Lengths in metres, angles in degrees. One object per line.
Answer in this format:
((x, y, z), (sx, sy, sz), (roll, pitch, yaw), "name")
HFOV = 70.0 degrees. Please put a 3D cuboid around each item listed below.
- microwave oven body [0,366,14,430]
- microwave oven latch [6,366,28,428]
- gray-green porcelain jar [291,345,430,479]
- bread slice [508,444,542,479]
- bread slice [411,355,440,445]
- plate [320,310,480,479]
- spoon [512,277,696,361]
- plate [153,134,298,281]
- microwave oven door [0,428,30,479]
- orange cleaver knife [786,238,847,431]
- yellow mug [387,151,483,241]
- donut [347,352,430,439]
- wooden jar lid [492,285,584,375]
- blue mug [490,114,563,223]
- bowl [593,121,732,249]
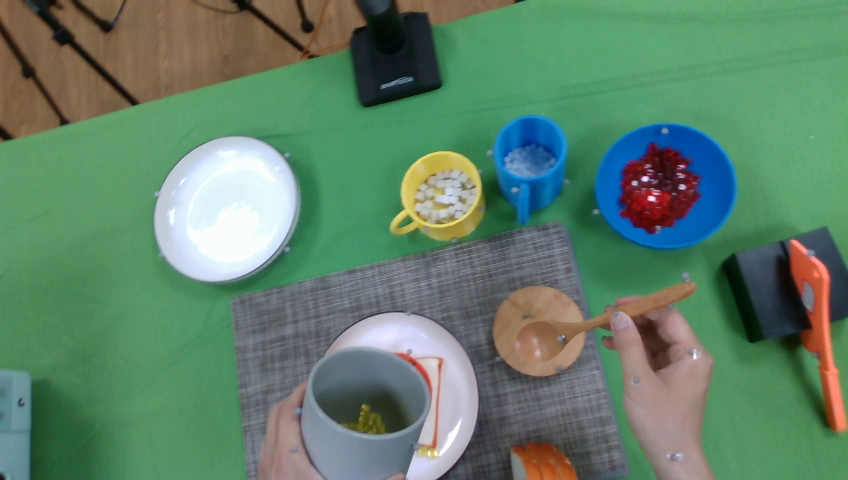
((-0.675, 0.380, 0.677), (0.326, 0.262, 0.439), (-12, 74, 7), "microwave oven body")
((-0.544, 0.207, 0.799), (0.030, 0.030, 0.078), (-9, 75, 7), "microwave oven latch")
((-0.060, 0.175, 0.540), (0.105, 0.106, 0.127), (26, 121, 16), "gray-green porcelain jar")
((0.108, 0.270, 0.634), (0.018, 0.135, 0.106), (-4, 73, 0), "bread slice")
((-0.047, 0.191, 0.733), (0.131, 0.019, 0.104), (0, 75, 7), "bread slice")
((-0.034, 0.189, 0.727), (0.209, 0.038, 0.208), (-3, 75, 10), "plate")
((0.150, 0.071, 0.533), (0.022, 0.193, 0.041), (-16, 79, -40), "spoon")
((-0.269, -0.043, 0.835), (0.207, 0.039, 0.206), (-2, 76, 10), "plate")
((-0.528, 0.388, 0.643), (0.039, 0.245, 0.353), (-13, 73, 7), "microwave oven door")
((0.417, 0.101, 0.647), (0.012, 0.077, 0.212), (-16, 103, 7), "orange cleaver knife")
((0.009, -0.046, 0.769), (0.131, 0.064, 0.099), (-34, 71, 2), "yellow mug")
((-0.040, 0.179, 0.702), (0.099, 0.048, 0.098), (-2, 76, 6), "donut")
((0.136, 0.108, 0.727), (0.108, 0.021, 0.108), (-2, 76, 9), "wooden jar lid")
((0.124, -0.078, 0.736), (0.082, 0.106, 0.116), (7, 77, 12), "blue mug")
((0.274, -0.055, 0.717), (0.151, 0.077, 0.150), (-3, 75, 10), "bowl")
